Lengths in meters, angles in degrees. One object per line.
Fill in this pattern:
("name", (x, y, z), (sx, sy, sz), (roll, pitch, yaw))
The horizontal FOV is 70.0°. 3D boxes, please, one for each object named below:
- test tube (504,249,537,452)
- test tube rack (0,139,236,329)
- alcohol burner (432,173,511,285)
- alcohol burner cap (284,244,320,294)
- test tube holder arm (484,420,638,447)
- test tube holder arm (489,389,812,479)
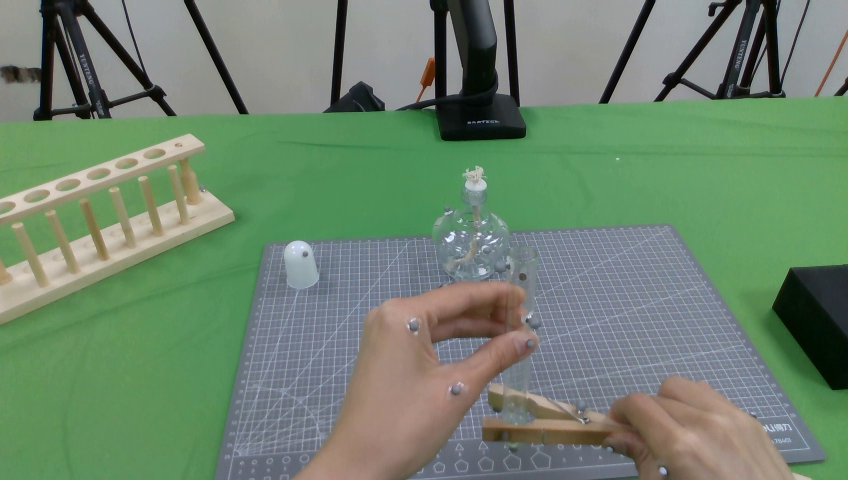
("test tube", (0.054, 0.070, 0.344), (0.017, 0.151, 0.017), (-3, 34, 2))
("test tube rack", (-0.323, -0.015, 0.613), (0.242, 0.086, 0.066), (-30, 46, -33))
("alcohol burner", (0.047, -0.015, 0.587), (0.078, 0.120, 0.077), (1, 39, 0))
("alcohol burner cap", (-0.120, 0.026, 0.593), (0.034, 0.048, 0.033), (1, 38, 0))
("test tube holder arm", (0.080, 0.114, 0.357), (0.088, 0.015, 0.010), (-1, 37, 4))
("test tube holder arm", (0.124, 0.116, 0.351), (0.177, 0.015, 0.013), (11, 40, 18))
